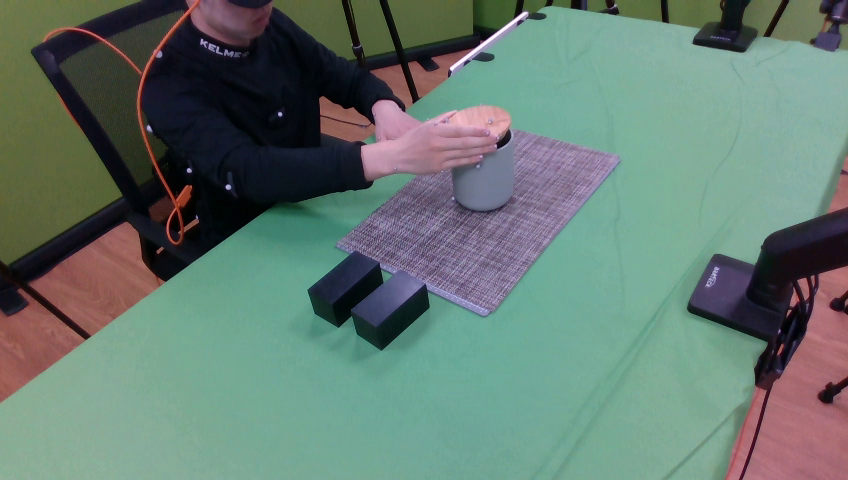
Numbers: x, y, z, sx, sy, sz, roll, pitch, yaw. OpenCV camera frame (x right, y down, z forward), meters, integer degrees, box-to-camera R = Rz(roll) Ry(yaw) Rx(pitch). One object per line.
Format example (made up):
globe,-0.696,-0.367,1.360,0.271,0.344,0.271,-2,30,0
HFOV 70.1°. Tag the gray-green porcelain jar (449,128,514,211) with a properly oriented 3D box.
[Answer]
gray-green porcelain jar,0.098,-0.120,1.009,0.106,0.127,0.105,-4,41,4

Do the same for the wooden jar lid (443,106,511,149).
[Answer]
wooden jar lid,0.085,-0.177,0.958,0.108,0.021,0.108,-8,39,7
